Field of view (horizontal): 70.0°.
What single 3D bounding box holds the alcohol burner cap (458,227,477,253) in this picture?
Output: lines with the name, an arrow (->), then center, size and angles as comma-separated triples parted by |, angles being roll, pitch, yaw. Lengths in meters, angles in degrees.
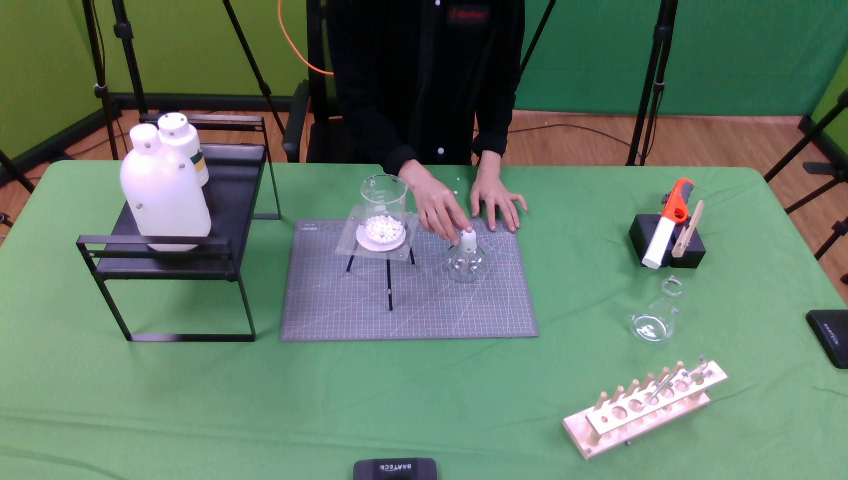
alcohol burner cap -> 0.079, -0.003, 1.087 | 0.034, 0.048, 0.033 | -1, 54, 1

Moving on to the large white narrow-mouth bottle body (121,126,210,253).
large white narrow-mouth bottle body -> -0.378, -0.077, 0.875 | 0.102, 0.195, 0.101 | 3, 46, -3

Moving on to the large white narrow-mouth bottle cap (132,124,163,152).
large white narrow-mouth bottle cap -> -0.371, -0.137, 0.813 | 0.038, 0.024, 0.037 | 3, 46, -3

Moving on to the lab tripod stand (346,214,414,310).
lab tripod stand -> -0.075, 0.030, 1.082 | 0.148, 0.132, 0.147 | 1, 47, -1

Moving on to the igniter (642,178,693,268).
igniter -> 0.488, -0.042, 1.205 | 0.057, 0.025, 0.276 | 30, 51, 11

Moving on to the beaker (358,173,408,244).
beaker -> -0.066, -0.050, 1.000 | 0.084, 0.101, 0.073 | -18, 49, -20

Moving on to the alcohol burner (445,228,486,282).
alcohol burner -> 0.077, 0.021, 1.115 | 0.078, 0.120, 0.077 | 1, 48, -1

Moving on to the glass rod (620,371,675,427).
glass rod -> 0.315, 0.230, 0.863 | 0.008, 0.200, 0.008 | 3, 54, -3

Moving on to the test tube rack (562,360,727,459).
test tube rack -> 0.341, 0.247, 0.940 | 0.243, 0.085, 0.066 | -16, 49, -18

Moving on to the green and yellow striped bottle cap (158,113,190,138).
green and yellow striped bottle cap -> -0.393, -0.180, 0.951 | 0.045, 0.020, 0.045 | 2, 44, -2

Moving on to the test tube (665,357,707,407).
test tube -> 0.387, 0.215, 0.905 | 0.017, 0.151, 0.017 | 1, 52, -1

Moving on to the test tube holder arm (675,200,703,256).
test tube holder arm -> 0.523, -0.025, 1.190 | 0.013, 0.015, 0.178 | 1, 36, 41

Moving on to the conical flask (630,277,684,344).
conical flask -> 0.408, 0.117, 1.045 | 0.075, 0.122, 0.075 | 2, 46, -2

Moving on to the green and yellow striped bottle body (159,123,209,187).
green and yellow striped bottle body -> -0.395, -0.145, 0.989 | 0.063, 0.120, 0.063 | 2, 46, -2

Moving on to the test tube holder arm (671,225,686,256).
test tube holder arm -> 0.494, 0.001, 1.167 | 0.010, 0.015, 0.087 | 1, 36, 42

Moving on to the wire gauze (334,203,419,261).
wire gauze -> -0.079, -0.013, 1.031 | 0.121, 0.011, 0.124 | 8, 48, 7
